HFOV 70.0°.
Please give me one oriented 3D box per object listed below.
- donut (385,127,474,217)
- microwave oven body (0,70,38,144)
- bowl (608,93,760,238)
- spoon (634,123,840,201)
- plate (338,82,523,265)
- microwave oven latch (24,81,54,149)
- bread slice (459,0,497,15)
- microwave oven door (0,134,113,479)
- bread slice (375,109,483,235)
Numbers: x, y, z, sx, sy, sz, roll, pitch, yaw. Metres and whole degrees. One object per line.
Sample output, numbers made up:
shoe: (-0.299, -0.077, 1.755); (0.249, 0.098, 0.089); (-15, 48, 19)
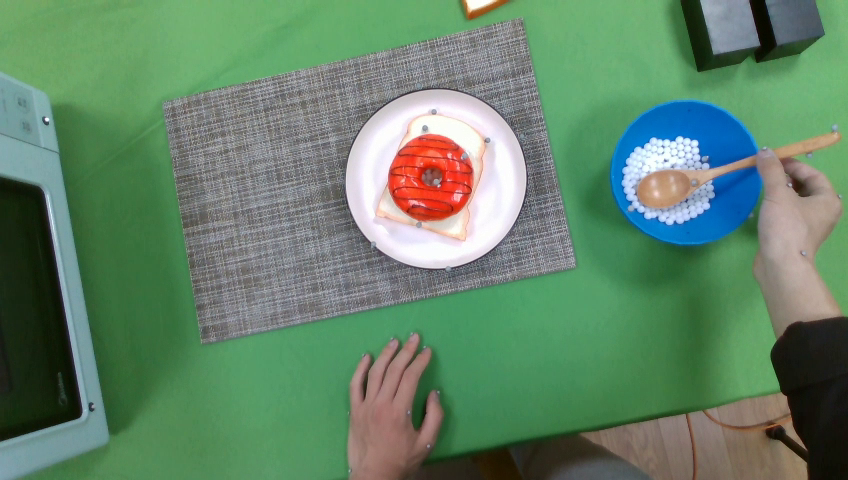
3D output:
donut: (0.006, -0.074, 0.665); (0.099, 0.048, 0.099); (0, 87, 6)
microwave oven body: (-0.583, 0.051, 0.626); (0.326, 0.261, 0.440); (-14, 86, 3)
bowl: (0.268, -0.073, 0.653); (0.151, 0.077, 0.151); (0, 86, 4)
spoon: (0.314, -0.081, 0.618); (0.193, 0.022, 0.041); (-17, 79, 26)
plate: (0.008, -0.074, 0.693); (0.207, 0.039, 0.207); (0, 86, 5)
microwave oven latch: (-0.471, -0.148, 0.727); (0.030, 0.029, 0.079); (-13, 86, 4)
bread slice: (0.067, -0.348, 0.720); (0.105, 0.019, 0.131); (-26, 85, 2)
microwave oven door: (-0.432, 0.056, 0.608); (0.039, 0.244, 0.355); (-14, 85, 4)
bread slice: (0.009, -0.081, 0.694); (0.107, 0.018, 0.134); (13, 88, 5)
